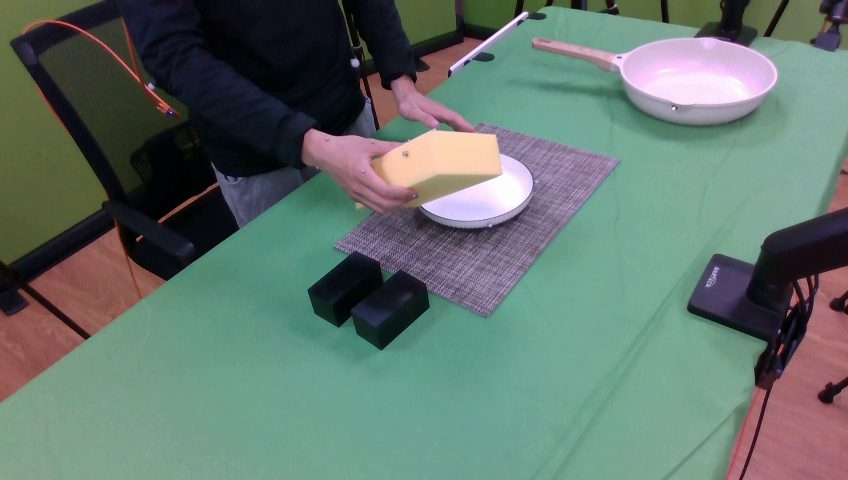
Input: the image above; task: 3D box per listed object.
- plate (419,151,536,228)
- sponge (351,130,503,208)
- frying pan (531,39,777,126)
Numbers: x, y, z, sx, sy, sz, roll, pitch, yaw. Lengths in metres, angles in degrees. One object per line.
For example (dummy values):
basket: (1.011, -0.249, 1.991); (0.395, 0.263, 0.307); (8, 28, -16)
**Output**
plate: (0.087, -0.085, 1.038); (0.207, 0.039, 0.206); (-4, 40, 4)
sponge: (-0.002, -0.097, 0.880); (0.119, 0.061, 0.205); (-4, -7, -39)
frying pan: (0.452, -0.354, 1.254); (0.485, 0.103, 0.307); (22, 47, 19)
